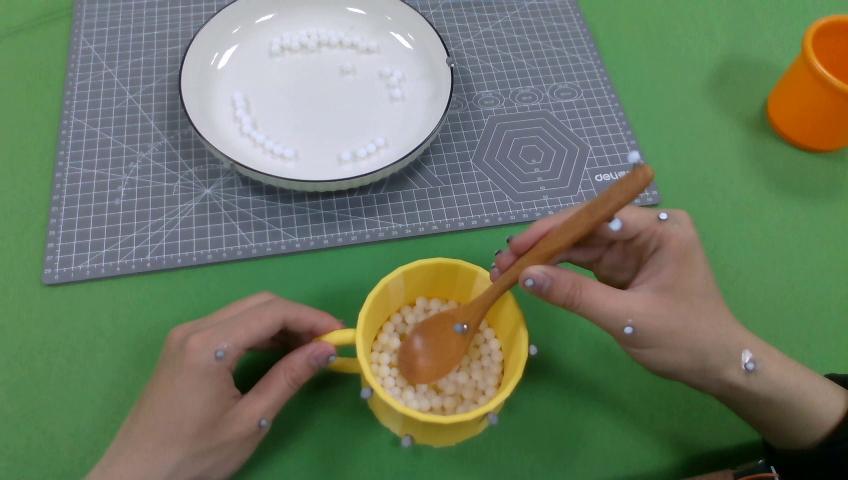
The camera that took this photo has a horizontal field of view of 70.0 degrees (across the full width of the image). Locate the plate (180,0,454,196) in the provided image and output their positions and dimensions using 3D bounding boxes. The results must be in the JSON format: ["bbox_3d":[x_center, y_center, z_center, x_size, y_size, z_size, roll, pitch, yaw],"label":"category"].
[{"bbox_3d":[-0.080,-0.118,0.479,0.208,0.039,0.206,2,61,-3],"label":"plate"}]

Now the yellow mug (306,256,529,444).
[{"bbox_3d":[-0.006,0.068,0.370,0.131,0.064,0.099,-1,61,-4],"label":"yellow mug"}]

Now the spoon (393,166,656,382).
[{"bbox_3d":[0.045,0.024,0.330,0.022,0.194,0.041,11,48,-38],"label":"spoon"}]
